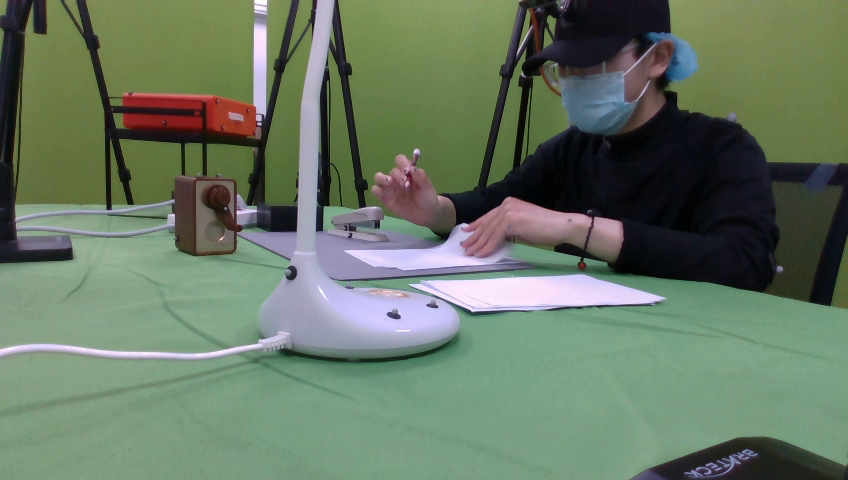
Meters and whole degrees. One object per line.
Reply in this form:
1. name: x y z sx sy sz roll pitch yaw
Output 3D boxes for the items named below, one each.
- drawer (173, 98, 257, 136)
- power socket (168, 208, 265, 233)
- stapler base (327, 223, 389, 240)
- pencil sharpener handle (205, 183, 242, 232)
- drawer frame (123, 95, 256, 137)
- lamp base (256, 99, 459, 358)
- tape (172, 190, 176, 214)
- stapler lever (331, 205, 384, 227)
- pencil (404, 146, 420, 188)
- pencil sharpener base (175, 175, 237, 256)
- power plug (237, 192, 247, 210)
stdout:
1. drawer: -0.518 -0.279 1.376 0.211 0.073 0.195 3 8 10
2. power socket: -0.381 -0.038 1.129 0.072 0.032 0.227 4 8 17
3. stapler base: -0.117 -0.018 1.072 0.130 0.024 0.041 7 8 41
4. pencil sharpener handle: -0.265 -0.043 0.812 0.036 0.068 0.030 -32 28 -35
5. drawer frame: -0.524 -0.280 1.376 0.213 0.082 0.202 3 8 8
6. lamp base: -0.055 -0.013 0.463 0.160 0.180 0.180 6 11 27
7. tape: -0.515 -0.087 1.388 0.117 0.052 0.117 3 7 0
8. stapler lever: -0.119 -0.044 1.070 0.117 0.040 0.027 6 8 41
9. pencil: -0.020 -0.119 0.970 0.012 0.012 0.194 3 26 4
10. pencil sharpener base: -0.304 -0.035 0.847 0.062 0.107 0.076 -4 10 -42
11. power plug: -0.386 -0.071 1.204 0.072 0.052 0.035 7 8 26
